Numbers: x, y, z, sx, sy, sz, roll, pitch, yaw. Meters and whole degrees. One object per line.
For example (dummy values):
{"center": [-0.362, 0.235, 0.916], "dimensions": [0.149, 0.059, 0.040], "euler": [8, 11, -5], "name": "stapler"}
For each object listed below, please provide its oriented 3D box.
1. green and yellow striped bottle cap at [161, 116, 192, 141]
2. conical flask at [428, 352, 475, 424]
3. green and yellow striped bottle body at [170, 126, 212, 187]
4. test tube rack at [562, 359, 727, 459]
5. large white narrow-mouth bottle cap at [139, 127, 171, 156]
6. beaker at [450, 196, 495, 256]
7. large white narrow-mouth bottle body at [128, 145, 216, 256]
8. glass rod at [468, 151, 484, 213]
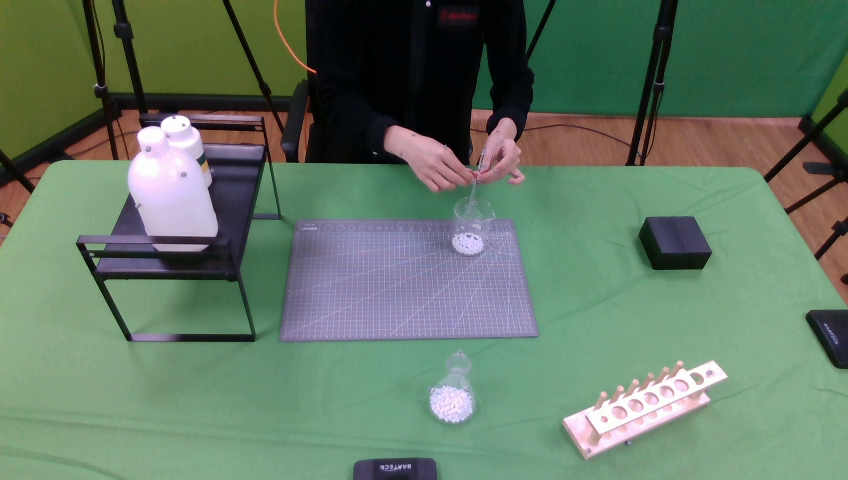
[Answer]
{"center": [-0.387, -0.174, 0.946], "dimensions": [0.045, 0.020, 0.045], "euler": [3, 44, -3], "name": "green and yellow striped bottle cap"}
{"center": [0.046, 0.220, 0.920], "dimensions": [0.075, 0.122, 0.075], "euler": [2, 46, -2], "name": "conical flask"}
{"center": [-0.389, -0.139, 0.984], "dimensions": [0.063, 0.120, 0.063], "euler": [2, 46, -2], "name": "green and yellow striped bottle body"}
{"center": [0.341, 0.247, 0.940], "dimensions": [0.243, 0.085, 0.066], "euler": [-16, 49, -18], "name": "test tube rack"}
{"center": [-0.358, -0.132, 0.807], "dimensions": [0.038, 0.024, 0.037], "euler": [3, 47, -3], "name": "large white narrow-mouth bottle cap"}
{"center": [0.092, -0.024, 1.170], "dimensions": [0.084, 0.101, 0.073], "euler": [15, 48, 10], "name": "beaker"}
{"center": [-0.366, -0.073, 0.872], "dimensions": [0.102, 0.195, 0.101], "euler": [3, 47, -3], "name": "large white narrow-mouth bottle body"}
{"center": [0.094, -0.100, 1.097], "dimensions": [0.008, 0.200, 0.008], "euler": [1, 62, -2], "name": "glass rod"}
